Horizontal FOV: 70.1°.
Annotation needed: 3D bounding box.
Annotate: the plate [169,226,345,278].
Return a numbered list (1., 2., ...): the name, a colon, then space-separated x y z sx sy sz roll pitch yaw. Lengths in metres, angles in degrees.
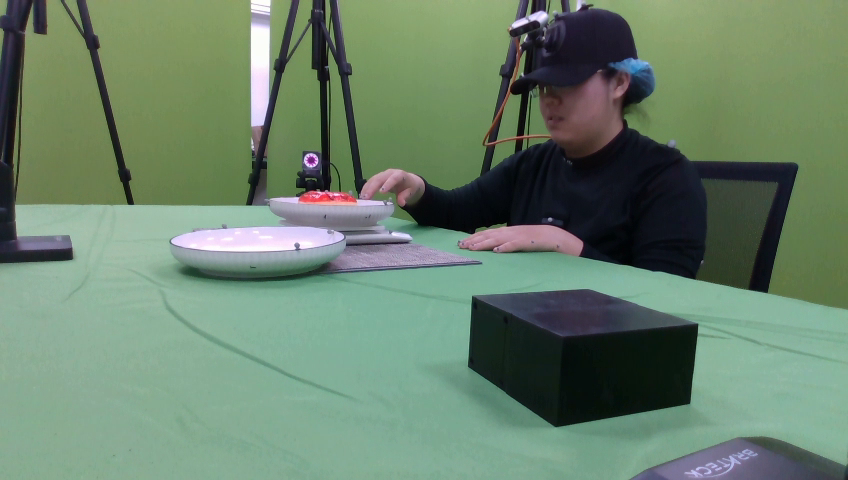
1. plate: -0.202 0.014 0.748 0.209 0.038 0.209 1 9 0

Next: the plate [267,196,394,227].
1. plate: -0.152 -0.047 0.998 0.208 0.039 0.207 2 7 0

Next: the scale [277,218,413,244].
1. scale: -0.134 -0.016 1.015 0.202 0.031 0.148 -2 9 -33

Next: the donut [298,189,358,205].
1. donut: -0.158 -0.059 0.996 0.099 0.048 0.099 2 4 0
